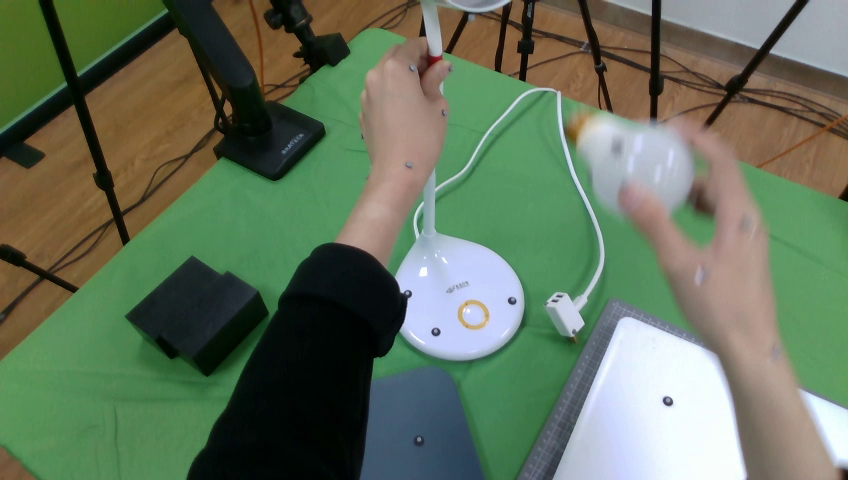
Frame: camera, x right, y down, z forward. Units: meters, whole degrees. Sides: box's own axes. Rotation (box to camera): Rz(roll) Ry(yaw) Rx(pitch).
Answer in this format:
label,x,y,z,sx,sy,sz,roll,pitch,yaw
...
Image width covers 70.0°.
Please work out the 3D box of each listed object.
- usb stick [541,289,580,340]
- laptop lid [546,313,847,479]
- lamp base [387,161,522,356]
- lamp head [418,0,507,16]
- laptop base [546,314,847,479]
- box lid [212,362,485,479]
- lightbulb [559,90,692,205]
label,x,y,z,sx,sy,sz,roll,pitch,yaw
usb stick,0.159,0.086,0.690,0.027,0.059,0.021,-37,19,-27
laptop lid,0.318,0.231,0.587,0.354,0.013,0.241,25,61,18
lamp base,0.027,0.012,0.665,0.160,0.182,0.177,-31,57,-20
lamp head,0.007,-0.216,0.419,0.112,0.113,0.121,-32,30,-20
laptop base,0.320,0.237,0.597,0.352,0.023,0.234,23,62,17
box lid,-0.054,0.303,0.564,0.263,0.015,0.367,-14,56,-8
lightbulb,0.122,-0.065,0.386,0.059,0.060,0.106,-22,44,-13
